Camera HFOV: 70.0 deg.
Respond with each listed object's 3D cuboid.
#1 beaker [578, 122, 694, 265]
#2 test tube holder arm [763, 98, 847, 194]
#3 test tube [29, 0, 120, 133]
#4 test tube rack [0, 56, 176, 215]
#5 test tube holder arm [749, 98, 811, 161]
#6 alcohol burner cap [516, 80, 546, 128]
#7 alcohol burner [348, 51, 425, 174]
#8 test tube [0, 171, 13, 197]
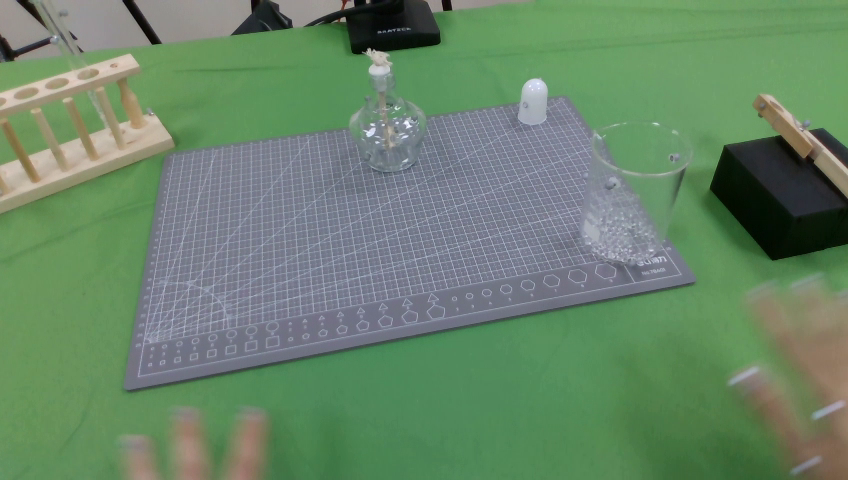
[{"bbox_3d":[0.165,-0.036,0.497,0.074,0.101,0.083,-32,50,-26],"label":"beaker"},{"bbox_3d":[0.337,-0.071,0.517,0.013,0.015,0.176,-5,44,-10],"label":"test tube holder arm"},{"bbox_3d":[-0.344,-0.169,0.604,0.017,0.152,0.017,-4,47,4],"label":"test tube"},{"bbox_3d":[-0.389,-0.096,0.603,0.242,0.086,0.066,-27,49,-23],"label":"test tube rack"},{"bbox_3d":[0.323,-0.101,0.547,0.010,0.015,0.087,-4,43,-9],"label":"test tube holder arm"},{"bbox_3d":[0.117,-0.150,0.658,0.034,0.048,0.033,-1,44,2],"label":"alcohol burner cap"},{"bbox_3d":[-0.038,-0.125,0.590,0.078,0.120,0.077,-3,43,3],"label":"alcohol burner"},{"bbox_3d":[-0.417,-0.101,0.545,0.017,0.152,0.017,-3,43,3],"label":"test tube"}]
